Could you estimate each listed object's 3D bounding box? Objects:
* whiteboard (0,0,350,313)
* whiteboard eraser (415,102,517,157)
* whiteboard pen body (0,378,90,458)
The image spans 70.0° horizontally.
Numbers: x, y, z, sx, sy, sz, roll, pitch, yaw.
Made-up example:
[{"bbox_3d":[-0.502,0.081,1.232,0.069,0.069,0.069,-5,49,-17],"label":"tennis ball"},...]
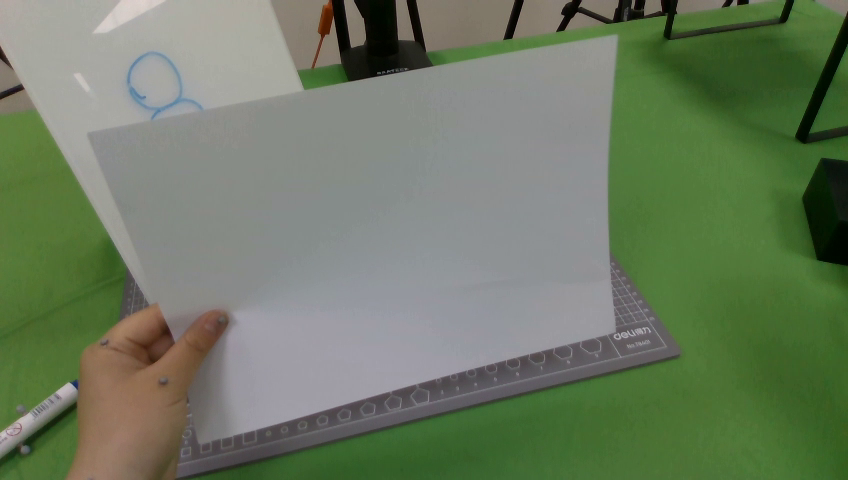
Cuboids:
[{"bbox_3d":[-0.240,-0.129,0.578,0.217,0.308,0.142,-33,29,-28],"label":"whiteboard"},{"bbox_3d":[0.050,-0.128,0.714,0.113,0.042,0.055,-13,45,-12],"label":"whiteboard eraser"},{"bbox_3d":[-0.308,0.149,0.436,0.017,0.017,0.140,25,47,27],"label":"whiteboard pen body"}]
